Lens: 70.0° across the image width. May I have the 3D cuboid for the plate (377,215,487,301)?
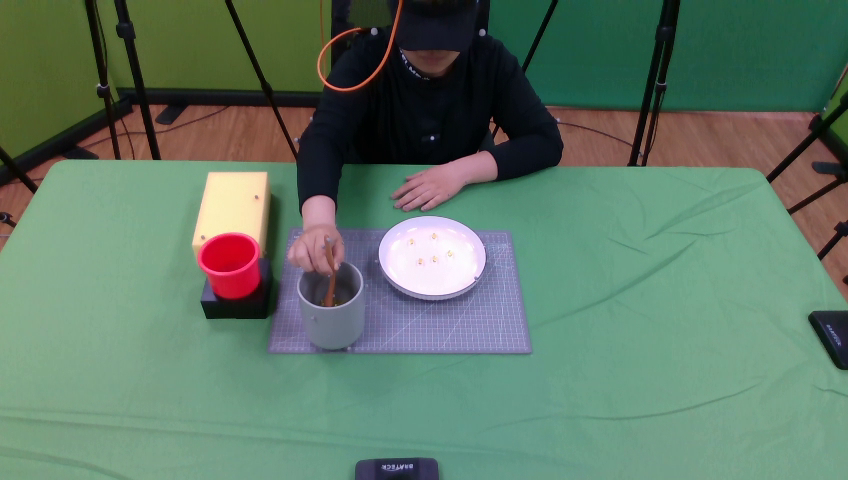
[{"bbox_3d":[0.015,0.037,1.147,0.208,0.039,0.206,2,46,-2],"label":"plate"}]

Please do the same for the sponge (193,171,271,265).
[{"bbox_3d":[-0.371,-0.047,1.189,0.118,0.061,0.205,-3,46,-6],"label":"sponge"}]

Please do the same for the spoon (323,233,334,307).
[{"bbox_3d":[-0.153,0.063,0.976,0.022,0.194,0.041,-6,41,-16],"label":"spoon"}]

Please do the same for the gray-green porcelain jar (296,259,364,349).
[{"bbox_3d":[-0.152,0.111,1.003,0.106,0.127,0.105,2,46,-2],"label":"gray-green porcelain jar"}]
